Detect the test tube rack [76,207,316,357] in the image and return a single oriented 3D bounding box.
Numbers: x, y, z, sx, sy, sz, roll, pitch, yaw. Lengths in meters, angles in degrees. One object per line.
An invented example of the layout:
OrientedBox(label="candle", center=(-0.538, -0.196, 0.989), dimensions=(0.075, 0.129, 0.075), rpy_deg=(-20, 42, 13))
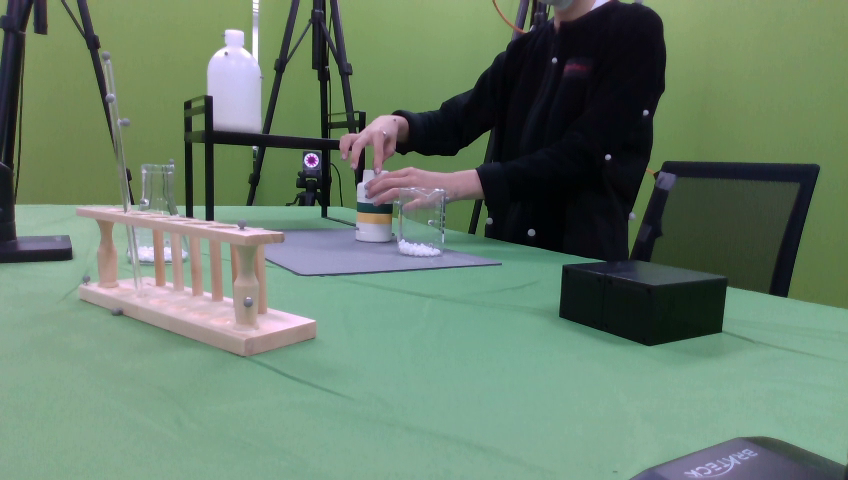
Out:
OrientedBox(label="test tube rack", center=(-0.196, 0.023, 0.500), dimensions=(0.241, 0.085, 0.067), rpy_deg=(7, 9, 36))

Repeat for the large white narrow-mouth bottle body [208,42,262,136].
OrientedBox(label="large white narrow-mouth bottle body", center=(-0.368, -0.304, 1.181), dimensions=(0.102, 0.194, 0.101), rpy_deg=(2, 9, 0))

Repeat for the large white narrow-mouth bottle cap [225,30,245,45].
OrientedBox(label="large white narrow-mouth bottle cap", center=(-0.365, -0.390, 1.166), dimensions=(0.038, 0.024, 0.037), rpy_deg=(2, 9, 0))

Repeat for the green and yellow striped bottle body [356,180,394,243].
OrientedBox(label="green and yellow striped bottle body", center=(-0.083, -0.058, 1.028), dimensions=(0.063, 0.119, 0.063), rpy_deg=(3, 8, 0))

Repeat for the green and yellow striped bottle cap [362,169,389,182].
OrientedBox(label="green and yellow striped bottle cap", center=(-0.081, -0.109, 1.022), dimensions=(0.045, 0.020, 0.045), rpy_deg=(5, 8, 0))

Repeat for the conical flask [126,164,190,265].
OrientedBox(label="conical flask", center=(-0.332, -0.033, 0.756), dimensions=(0.075, 0.122, 0.075), rpy_deg=(2, 7, 0))

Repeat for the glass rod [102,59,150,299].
OrientedBox(label="glass rod", center=(-0.243, -0.045, 0.496), dimensions=(0.008, 0.199, 0.008), rpy_deg=(-4, 12, 1))

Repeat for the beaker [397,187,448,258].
OrientedBox(label="beaker", center=(-0.002, -0.027, 0.890), dimensions=(0.074, 0.100, 0.084), rpy_deg=(0, 8, -11))
